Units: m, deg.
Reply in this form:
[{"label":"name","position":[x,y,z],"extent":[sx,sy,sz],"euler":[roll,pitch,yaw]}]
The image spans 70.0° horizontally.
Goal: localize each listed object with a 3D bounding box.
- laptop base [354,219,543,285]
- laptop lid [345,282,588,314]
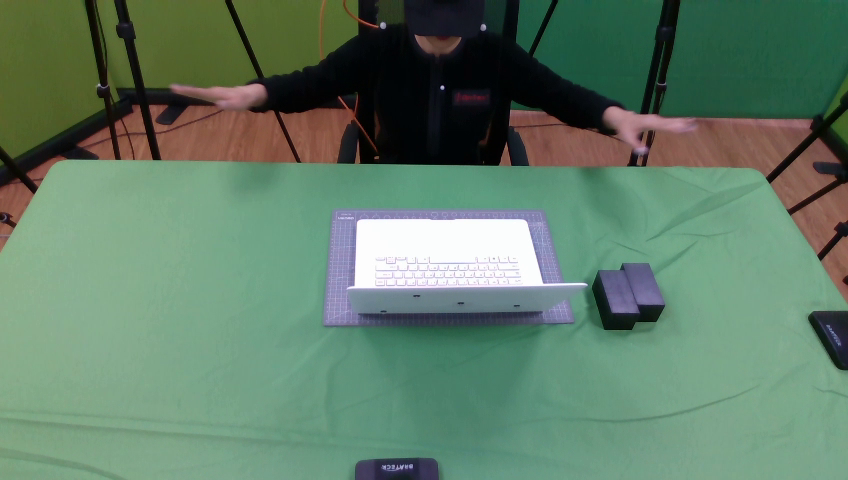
[{"label":"laptop base","position":[0.043,0.044,1.162],"extent":[0.355,0.023,0.234],"euler":[0,43,-5]},{"label":"laptop lid","position":[0.057,0.096,0.969],"extent":[0.357,0.242,0.013],"euler":[0,74,-6]}]
